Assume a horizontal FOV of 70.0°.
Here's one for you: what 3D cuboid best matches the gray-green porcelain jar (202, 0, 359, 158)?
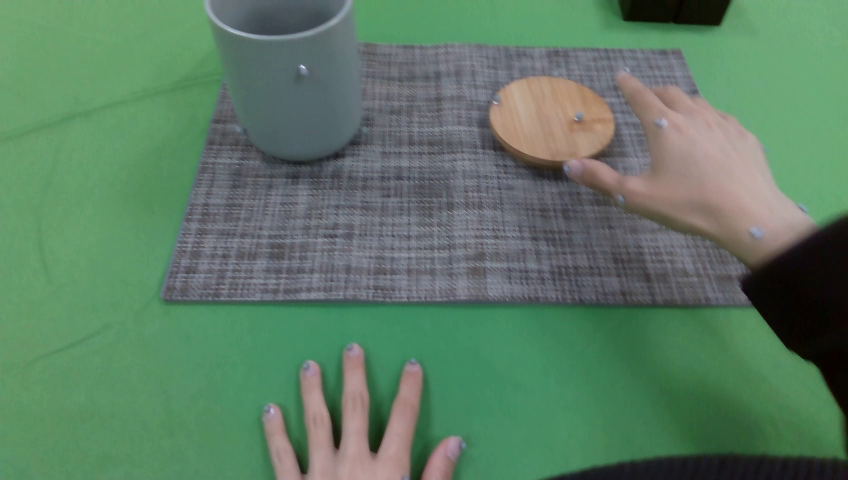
[{"bbox_3d":[-0.106,-0.138,0.480,0.106,0.127,0.105,1,53,-1],"label":"gray-green porcelain jar"}]

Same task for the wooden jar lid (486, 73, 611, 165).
[{"bbox_3d":[0.108,-0.105,0.533,0.108,0.021,0.107,1,53,-1],"label":"wooden jar lid"}]
